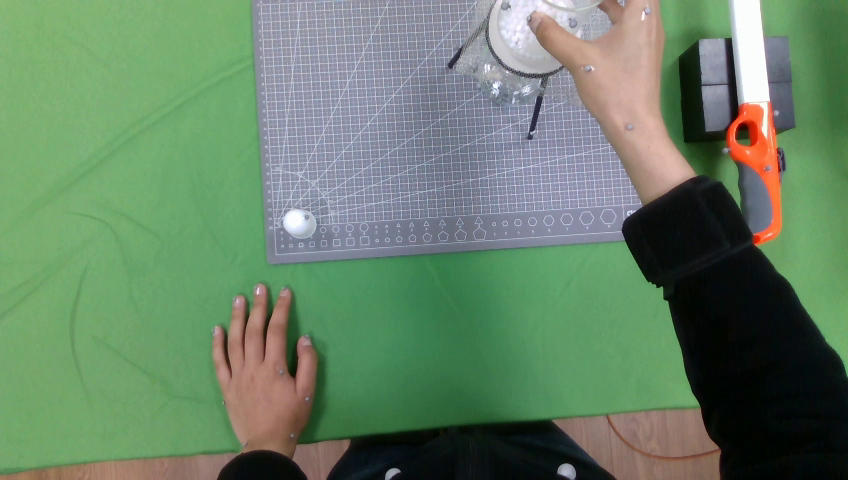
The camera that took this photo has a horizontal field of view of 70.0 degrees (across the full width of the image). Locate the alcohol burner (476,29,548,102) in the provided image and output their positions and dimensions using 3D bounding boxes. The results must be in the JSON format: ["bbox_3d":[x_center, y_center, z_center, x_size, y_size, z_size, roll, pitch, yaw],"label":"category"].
[{"bbox_3d":[0.094,-0.186,0.629,0.078,0.119,0.078,0,89,-1],"label":"alcohol burner"}]

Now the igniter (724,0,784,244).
[{"bbox_3d":[0.343,-0.134,0.636,0.057,0.025,0.276,-3,87,3],"label":"igniter"}]

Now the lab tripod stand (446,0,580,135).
[{"bbox_3d":[0.099,-0.195,0.620,0.148,0.131,0.148,0,85,-2],"label":"lab tripod stand"}]

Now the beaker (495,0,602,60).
[{"bbox_3d":[0.100,-0.201,0.503,0.084,0.100,0.074,-2,82,-7],"label":"beaker"}]

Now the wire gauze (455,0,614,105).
[{"bbox_3d":[0.104,-0.196,0.553,0.121,0.011,0.125,19,86,-2],"label":"wire gauze"}]

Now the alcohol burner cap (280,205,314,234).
[{"bbox_3d":[-0.138,-0.023,0.648,0.034,0.048,0.034,0,87,-3],"label":"alcohol burner cap"}]
